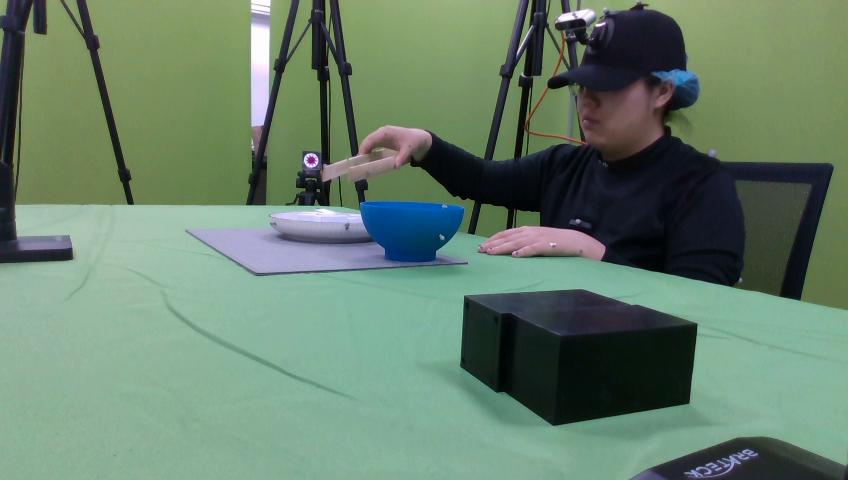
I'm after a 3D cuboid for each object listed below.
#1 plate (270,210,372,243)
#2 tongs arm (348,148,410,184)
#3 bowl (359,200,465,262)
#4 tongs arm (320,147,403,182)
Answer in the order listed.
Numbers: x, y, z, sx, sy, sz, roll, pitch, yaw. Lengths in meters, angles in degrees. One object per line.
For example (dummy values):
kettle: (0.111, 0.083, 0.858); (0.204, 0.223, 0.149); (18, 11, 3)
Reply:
plate: (-0.161, -0.023, 1.054); (0.208, 0.039, 0.207); (2, 7, 0)
tongs arm: (-0.076, -0.143, 1.128); (0.028, 0.028, 0.388); (2, 14, 13)
bowl: (-0.018, -0.013, 0.859); (0.151, 0.077, 0.151); (2, 7, 0)
tongs arm: (-0.104, -0.146, 1.134); (0.051, 0.026, 0.385); (5, 14, 9)
